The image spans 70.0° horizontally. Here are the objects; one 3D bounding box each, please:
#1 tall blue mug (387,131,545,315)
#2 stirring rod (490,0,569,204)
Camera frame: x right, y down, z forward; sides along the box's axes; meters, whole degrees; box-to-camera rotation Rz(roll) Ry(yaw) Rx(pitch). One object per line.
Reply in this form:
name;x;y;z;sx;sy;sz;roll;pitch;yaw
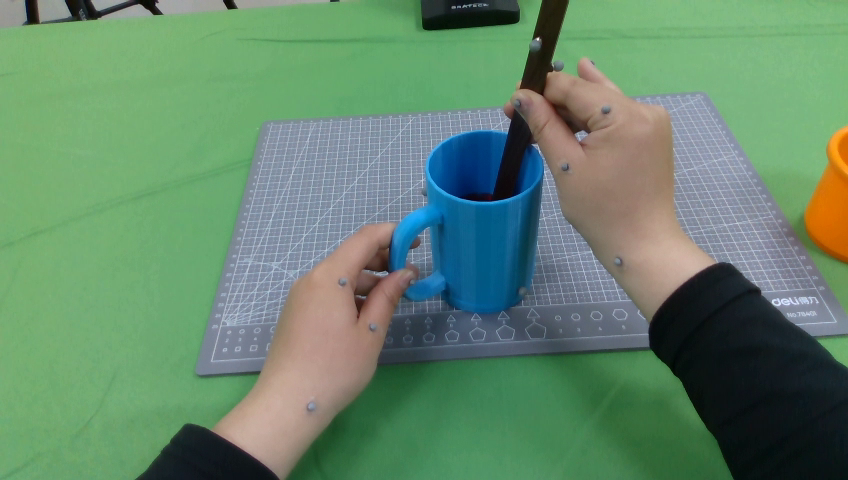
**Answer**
tall blue mug;0.033;0.000;0.414;0.077;0.109;0.107;20;51;21
stirring rod;0.061;-0.074;0.375;0.014;0.177;0.006;24;56;12
